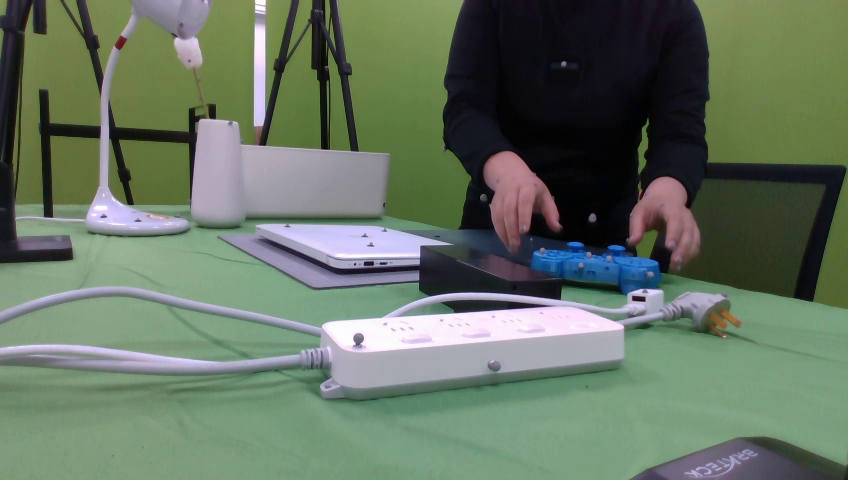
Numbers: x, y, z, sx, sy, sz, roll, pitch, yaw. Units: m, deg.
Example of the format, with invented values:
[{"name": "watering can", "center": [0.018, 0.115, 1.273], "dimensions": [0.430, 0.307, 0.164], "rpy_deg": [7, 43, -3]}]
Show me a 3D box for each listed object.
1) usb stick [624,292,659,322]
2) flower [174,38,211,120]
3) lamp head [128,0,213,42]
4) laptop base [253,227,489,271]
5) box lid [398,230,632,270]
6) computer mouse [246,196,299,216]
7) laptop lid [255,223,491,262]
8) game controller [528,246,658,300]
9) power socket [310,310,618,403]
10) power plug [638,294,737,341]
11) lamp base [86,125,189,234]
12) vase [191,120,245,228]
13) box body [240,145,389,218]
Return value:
[{"name": "usb stick", "center": [0.211, 0.064, 0.580], "dimensions": [0.021, 0.027, 0.059], "rpy_deg": [-2, -5, 36]}, {"name": "flower", "center": [-0.401, -0.207, 1.141], "dimensions": [0.038, 0.361, 0.044], "rpy_deg": [-14, 3, 44]}, {"name": "lamp head", "center": [-0.423, -0.394, 0.980], "dimensions": [0.123, 0.112, 0.112], "rpy_deg": [20, 7, -3]}, {"name": "laptop base", "center": [-0.096, 0.012, 0.911], "dimensions": [0.237, 0.023, 0.352], "rpy_deg": [2, 6, -32]}, {"name": "box lid", "center": [0.139, 0.013, 1.045], "dimensions": [0.265, 0.015, 0.369], "rpy_deg": [-1, 8, -32]}, {"name": "computer mouse", "center": [-0.346, -0.078, 1.380], "dimensions": [0.118, 0.041, 0.062], "rpy_deg": [-9, 15, -28]}, {"name": "laptop lid", "center": [-0.093, 0.000, 0.911], "dimensions": [0.243, 0.013, 0.355], "rpy_deg": [1, 7, -30]}, {"name": "game controller", "center": [0.202, 0.036, 0.733], "dimensions": [0.155, 0.051, 0.097], "rpy_deg": [5, 10, 19]}, {"name": "power socket", "center": [0.033, 0.074, 0.415], "dimensions": [0.228, 0.032, 0.072], "rpy_deg": [-1, 7, -24]}, {"name": "power plug", "center": [0.235, 0.077, 0.535], "dimensions": [0.072, 0.035, 0.052], "rpy_deg": [-32, 39, -7]}, {"name": "lamp base", "center": [-0.497, -0.105, 1.027], "dimensions": [0.179, 0.180, 0.160], "rpy_deg": [1, 7, 3]}, {"name": "vase", "center": [-0.389, -0.124, 1.142], "dimensions": [0.098, 0.200, 0.098], "rpy_deg": [3, 9, 0]}, {"name": "box body", "center": [-0.297, -0.143, 1.474], "dimensions": [0.366, 0.160, 0.253], "rpy_deg": [-1, 9, -30]}]
